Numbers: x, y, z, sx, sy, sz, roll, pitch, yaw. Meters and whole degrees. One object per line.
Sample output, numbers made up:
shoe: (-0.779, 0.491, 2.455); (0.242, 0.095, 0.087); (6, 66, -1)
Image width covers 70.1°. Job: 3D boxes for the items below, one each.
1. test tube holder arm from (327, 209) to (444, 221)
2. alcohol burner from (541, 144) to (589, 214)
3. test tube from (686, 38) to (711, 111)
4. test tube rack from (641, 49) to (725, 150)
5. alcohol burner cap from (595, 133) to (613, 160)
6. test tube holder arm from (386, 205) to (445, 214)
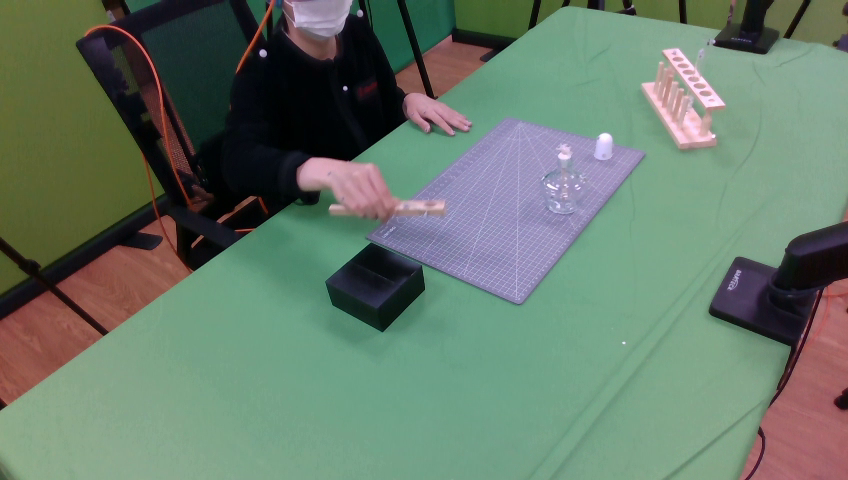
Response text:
test tube holder arm: (-0.058, -0.037, 0.872); (0.178, 0.015, 0.013); (-2, 41, 16)
alcohol burner: (0.229, -0.102, 0.983); (0.078, 0.119, 0.077); (-6, 41, 5)
test tube: (0.508, -0.305, 1.128); (0.017, 0.151, 0.017); (-2, 46, 3)
test tube rack: (0.495, -0.279, 1.175); (0.067, 0.085, 0.241); (-5, 41, 3)
alcohol burner cap: (0.330, -0.172, 1.104); (0.034, 0.048, 0.033); (-5, 41, 5)
test tube holder arm: (-0.013, -0.042, 0.863); (0.087, 0.015, 0.010); (-1, 41, 17)
